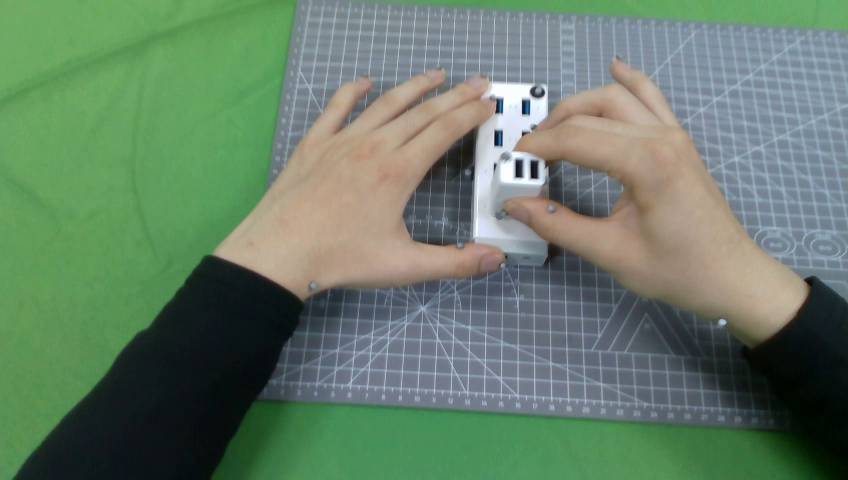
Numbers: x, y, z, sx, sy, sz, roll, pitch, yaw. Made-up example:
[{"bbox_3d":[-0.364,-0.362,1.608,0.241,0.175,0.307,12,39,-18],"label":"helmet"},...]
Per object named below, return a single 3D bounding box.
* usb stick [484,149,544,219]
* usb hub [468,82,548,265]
[{"bbox_3d":[0.051,-0.029,0.360,0.027,0.059,0.021,5,64,-7],"label":"usb stick"},{"bbox_3d":[0.056,-0.046,0.402,0.049,0.025,0.124,3,70,-1],"label":"usb hub"}]
